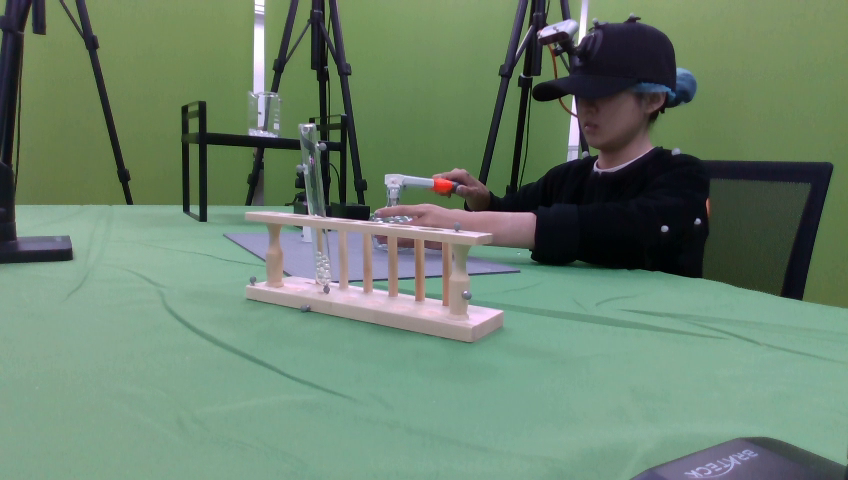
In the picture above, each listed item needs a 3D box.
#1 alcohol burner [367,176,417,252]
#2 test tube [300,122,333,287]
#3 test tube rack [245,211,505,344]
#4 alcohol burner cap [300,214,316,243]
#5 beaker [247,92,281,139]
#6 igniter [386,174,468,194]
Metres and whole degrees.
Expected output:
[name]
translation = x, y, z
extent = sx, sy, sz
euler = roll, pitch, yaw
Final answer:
[alcohol burner]
translation = -0.049, -0.041, 0.946
extent = 0.078, 0.119, 0.078
euler = 3, 5, 0
[test tube]
translation = -0.096, -0.030, 0.543
extent = 0.017, 0.150, 0.017
euler = -3, 14, 1
[test tube rack]
translation = -0.049, 0.025, 0.547
extent = 0.241, 0.085, 0.067
euler = 7, 8, 29
[alcohol burner cap]
translation = -0.186, -0.018, 0.991
extent = 0.034, 0.048, 0.034
euler = 1, 6, 0
[beaker]
translation = -0.361, -0.280, 1.359
extent = 0.074, 0.100, 0.084
euler = 4, 8, 8
[igniter]
translation = 0.012, -0.100, 1.084
extent = 0.057, 0.025, 0.278
euler = 4, 3, 26
